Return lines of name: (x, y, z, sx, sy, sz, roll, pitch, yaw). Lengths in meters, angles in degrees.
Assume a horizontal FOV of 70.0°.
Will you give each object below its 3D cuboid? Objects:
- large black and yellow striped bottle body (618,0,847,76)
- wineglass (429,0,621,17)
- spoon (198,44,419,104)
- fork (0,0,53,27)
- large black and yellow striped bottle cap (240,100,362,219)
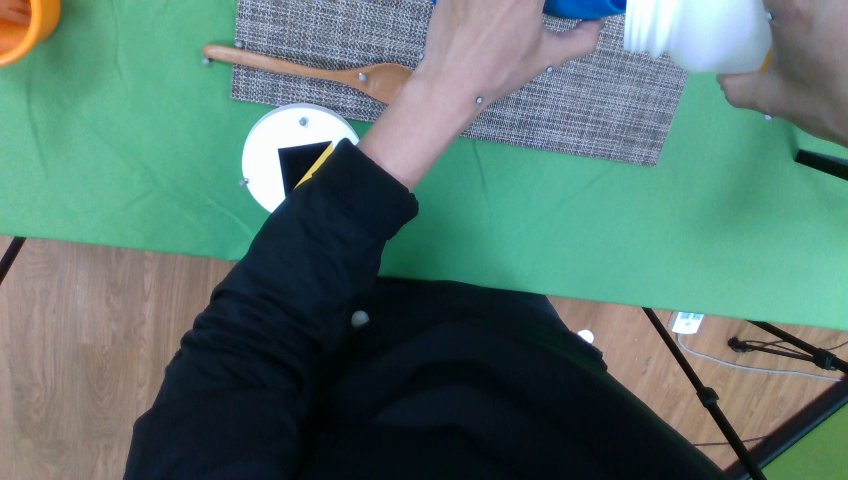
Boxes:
large black and yellow striped bottle body: (0.210, -0.161, 0.341, 0.183, 0.130, 0.131, 7, 116, 17)
wineglass: (0.076, -0.207, 0.460, 0.074, 0.170, 0.074, -17, 116, -37)
spoon: (-0.100, -0.153, 0.541, 0.194, 0.021, 0.042, 5, 134, -16)
fork: (-0.355, -0.178, 0.399, 0.028, 0.018, 0.208, -58, 157, 19)
large black and yellow striped bottle cap: (-0.117, -0.075, 0.581, 0.115, 0.018, 0.116, -6, 119, -11)
